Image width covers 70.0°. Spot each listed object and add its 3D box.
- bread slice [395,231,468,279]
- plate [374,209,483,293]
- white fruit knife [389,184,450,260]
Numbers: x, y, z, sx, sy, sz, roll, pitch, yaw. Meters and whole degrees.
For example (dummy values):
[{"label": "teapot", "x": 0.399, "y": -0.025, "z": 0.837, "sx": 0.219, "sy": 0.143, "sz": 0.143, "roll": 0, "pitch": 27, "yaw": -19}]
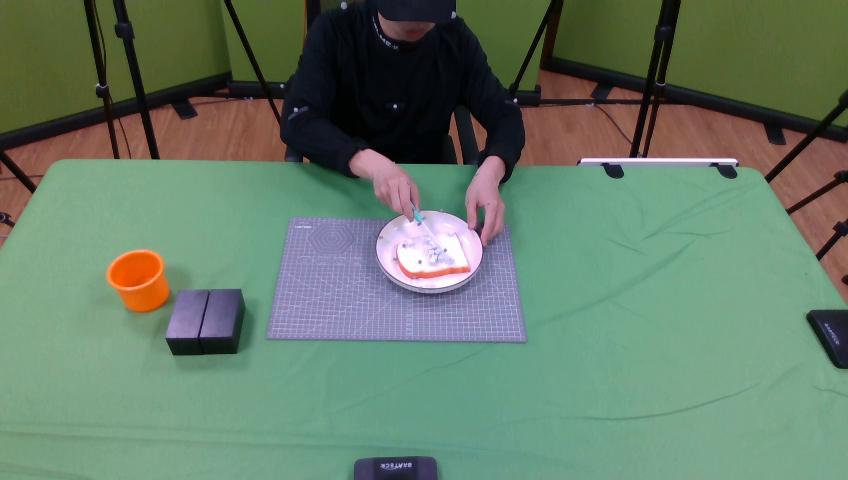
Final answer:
[{"label": "bread slice", "x": 0.011, "y": 0.030, "z": 1.158, "sx": 0.132, "sy": 0.019, "sz": 0.104, "roll": -9, "pitch": 47, "yaw": -14}, {"label": "plate", "x": 0.009, "y": 0.024, "z": 1.160, "sx": 0.209, "sy": 0.038, "sz": 0.208, "roll": 2, "pitch": 46, "yaw": -2}, {"label": "white fruit knife", "x": -0.009, "y": -0.038, "z": 1.161, "sx": 0.016, "sy": 0.027, "sz": 0.206, "roll": -30, "pitch": 64, "yaw": -17}]
